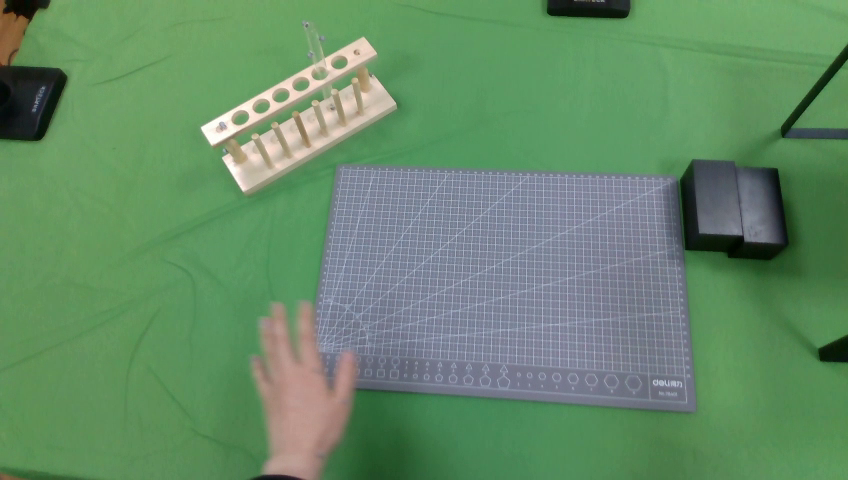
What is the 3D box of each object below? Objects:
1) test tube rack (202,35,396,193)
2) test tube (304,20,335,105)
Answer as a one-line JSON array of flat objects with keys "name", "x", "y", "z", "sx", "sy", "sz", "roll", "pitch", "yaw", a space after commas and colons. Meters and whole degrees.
[{"name": "test tube rack", "x": -0.160, "y": -0.167, "z": 0.809, "sx": 0.242, "sy": 0.086, "sz": 0.066, "roll": -32, "pitch": 69, "yaw": -9}, {"name": "test tube", "x": -0.131, "y": -0.222, "z": 0.777, "sx": 0.017, "sy": 0.151, "sz": 0.017, "roll": 0, "pitch": 66, "yaw": 1}]
